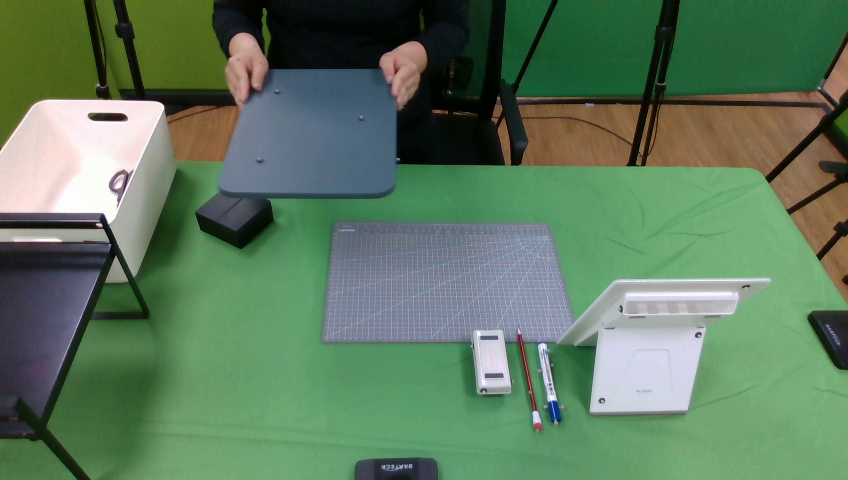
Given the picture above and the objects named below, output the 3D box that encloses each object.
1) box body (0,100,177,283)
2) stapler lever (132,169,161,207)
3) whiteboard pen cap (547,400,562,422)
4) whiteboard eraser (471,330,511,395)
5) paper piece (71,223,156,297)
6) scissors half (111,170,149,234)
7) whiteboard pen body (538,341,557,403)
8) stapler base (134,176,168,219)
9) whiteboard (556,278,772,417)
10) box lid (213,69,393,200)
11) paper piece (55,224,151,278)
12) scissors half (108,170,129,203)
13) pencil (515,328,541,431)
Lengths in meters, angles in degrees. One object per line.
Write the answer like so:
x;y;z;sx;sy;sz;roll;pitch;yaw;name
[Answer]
-0.639;-0.095;1.140;0.254;0.161;0.361;0;46;-4;box body
-0.557;-0.113;1.218;0.027;0.040;0.117;1;42;-8;stapler lever
0.205;0.269;0.956;0.018;0.018;0.033;0;47;-5;whiteboard pen cap
0.110;0.202;0.998;0.055;0.042;0.112;1;46;-5;whiteboard eraser
-0.597;0.035;1.141;0.136;0.009;0.137;14;51;-14;paper piece
-0.596;-0.078;1.223;0.040;0.013;0.174;6;51;2;scissors half
0.205;0.228;0.997;0.017;0.017;0.140;1;47;-3;whiteboard pen body
-0.558;-0.093;1.234;0.041;0.024;0.129;1;42;-8;stapler base
0.347;0.174;0.903;0.217;0.306;0.143;1;65;-4;whiteboard
-0.183;-0.188;1.002;0.263;0.015;0.369;-1;43;-2;box lid
-0.595;0.018;1.129;0.135;0.004;0.135;1;46;-2;paper piece
-0.618;-0.077;1.222;0.040;0.013;0.174;-14;52;-8;scissors half
0.169;0.224;1.002;0.012;0.012;0.192;-2;46;-6;pencil
